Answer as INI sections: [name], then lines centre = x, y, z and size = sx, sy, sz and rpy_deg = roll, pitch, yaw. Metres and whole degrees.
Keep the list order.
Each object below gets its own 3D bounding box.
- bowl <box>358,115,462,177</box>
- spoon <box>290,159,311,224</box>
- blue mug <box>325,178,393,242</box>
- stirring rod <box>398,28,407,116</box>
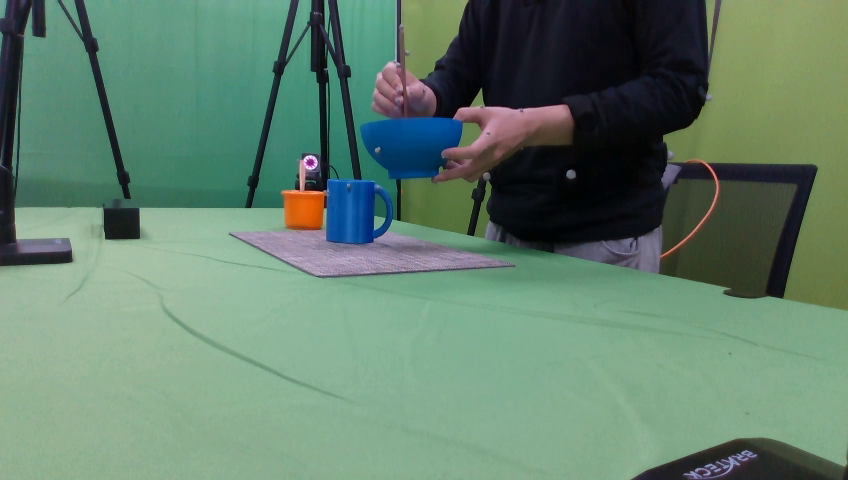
[bowl]
centre = -0.018, -0.131, 0.875
size = 0.151, 0.077, 0.151
rpy_deg = -2, 4, 0
[spoon]
centre = -0.256, -0.104, 1.265
size = 0.042, 0.193, 0.021
rpy_deg = 1, -37, -9
[blue mug]
centre = -0.111, -0.052, 1.034
size = 0.116, 0.106, 0.082
rpy_deg = 3, 7, 7
[stirring rod]
centre = -0.030, -0.212, 0.862
size = 0.006, 0.176, 0.014
rpy_deg = -4, 5, -17
